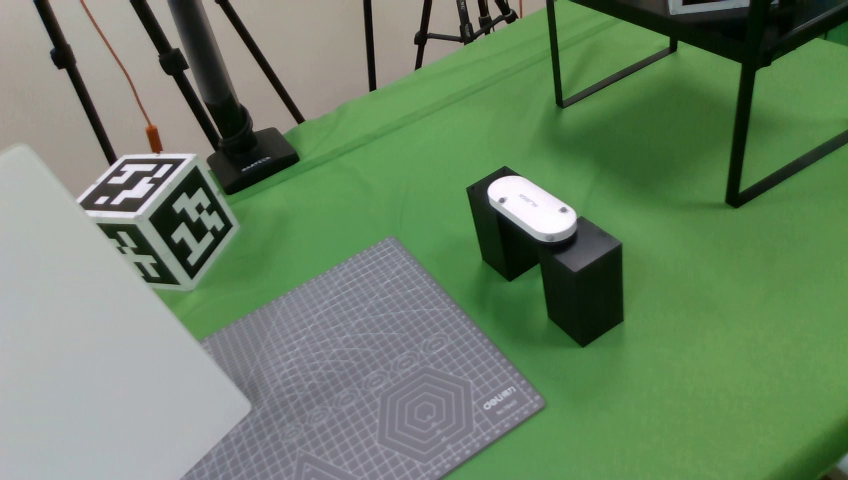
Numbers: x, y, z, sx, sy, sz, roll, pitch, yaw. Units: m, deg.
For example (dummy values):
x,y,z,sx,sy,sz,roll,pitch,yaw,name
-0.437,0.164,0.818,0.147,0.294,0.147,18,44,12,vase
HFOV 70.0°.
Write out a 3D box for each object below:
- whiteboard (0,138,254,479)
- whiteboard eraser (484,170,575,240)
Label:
x,y,z,sx,sy,sz,roll,pitch,yaw,name
-0.342,0.103,0.521,0.217,0.308,0.143,-45,29,-27,whiteboard
0.093,-0.035,0.546,0.041,0.019,0.100,-30,43,-17,whiteboard eraser
